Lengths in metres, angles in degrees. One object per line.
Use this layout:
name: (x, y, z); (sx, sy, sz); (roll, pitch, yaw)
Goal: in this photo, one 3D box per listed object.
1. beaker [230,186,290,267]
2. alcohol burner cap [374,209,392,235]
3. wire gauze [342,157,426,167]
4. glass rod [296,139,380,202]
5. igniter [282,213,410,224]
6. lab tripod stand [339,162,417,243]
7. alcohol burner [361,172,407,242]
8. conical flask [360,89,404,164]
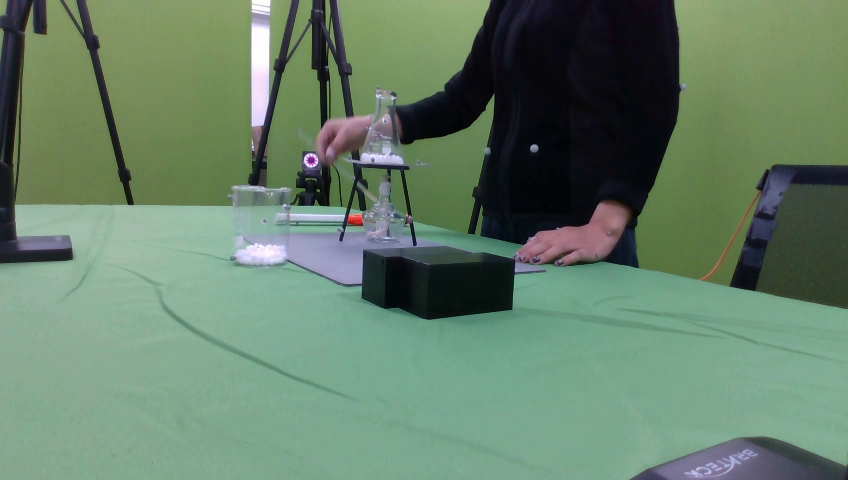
beaker: (-0.209, -0.019, 0.778); (0.074, 0.100, 0.084); (3, 6, 4)
alcohol burner cap: (-0.078, -0.035, 1.148); (0.034, 0.048, 0.034); (3, 9, 0)
wire gauze: (-0.065, -0.130, 1.016); (0.122, 0.011, 0.124); (2, 5, -27)
glass rod: (-0.163, -0.132, 1.165); (0.200, 0.008, 0.008); (37, -6, -21)
igniter: (-0.159, -0.046, 1.287); (0.278, 0.025, 0.057); (-1, -3, -21)
lab tripod stand: (-0.067, -0.065, 1.027); (0.148, 0.131, 0.148); (4, 7, 0)
alcohol burner: (-0.067, -0.056, 1.030); (0.078, 0.119, 0.078); (3, 9, 0)
conical flask: (-0.067, -0.189, 1.010); (0.075, 0.122, 0.075); (4, 6, 0)
